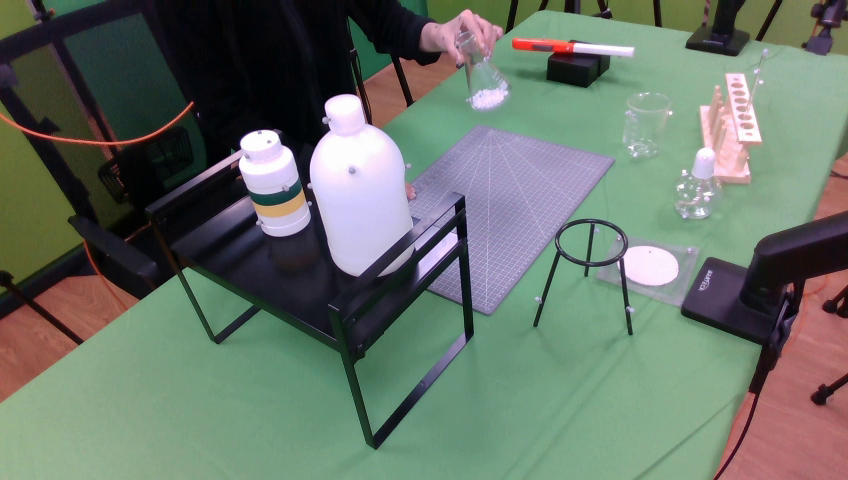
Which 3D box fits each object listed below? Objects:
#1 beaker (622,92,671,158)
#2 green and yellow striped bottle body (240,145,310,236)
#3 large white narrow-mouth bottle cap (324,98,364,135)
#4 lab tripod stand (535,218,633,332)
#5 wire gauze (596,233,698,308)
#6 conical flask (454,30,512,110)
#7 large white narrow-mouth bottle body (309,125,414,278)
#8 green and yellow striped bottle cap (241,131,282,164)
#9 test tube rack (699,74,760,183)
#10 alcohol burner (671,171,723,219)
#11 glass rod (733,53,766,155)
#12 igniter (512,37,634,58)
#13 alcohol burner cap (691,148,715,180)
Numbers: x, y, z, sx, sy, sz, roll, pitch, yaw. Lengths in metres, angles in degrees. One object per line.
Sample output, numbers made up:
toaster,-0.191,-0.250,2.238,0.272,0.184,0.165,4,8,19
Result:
beaker,0.402,-0.210,1.106,0.074,0.101,0.083,-9,40,-2
green and yellow striped bottle body,-0.181,-0.068,0.729,0.063,0.120,0.063,-4,40,4
large white narrow-mouth bottle cap,-0.077,-0.120,0.585,0.038,0.024,0.037,-3,42,4
lab tripod stand,0.216,0.050,0.803,0.148,0.132,0.147,-4,42,4
wire gauze,0.331,0.038,0.897,0.124,0.011,0.121,18,47,26
conical flask,0.091,-0.281,0.995,0.075,0.123,0.075,-20,36,16
large white narrow-mouth bottle body,-0.068,-0.057,0.645,0.102,0.195,0.101,-4,42,4
green and yellow striped bottle cap,-0.187,-0.107,0.695,0.045,0.020,0.045,-3,39,3
test tube rack,0.547,-0.208,1.095,0.066,0.085,0.242,6,42,16
alcohol burner,0.434,-0.093,0.955,0.078,0.119,0.077,-3,43,4
glass rod,0.540,-0.220,1.007,0.008,0.201,0.008,-5,46,6
igniter,0.328,-0.433,1.360,0.275,0.025,0.057,12,33,20
alcohol burner cap,0.432,-0.120,0.930,0.034,0.048,0.033,-7,48,8
